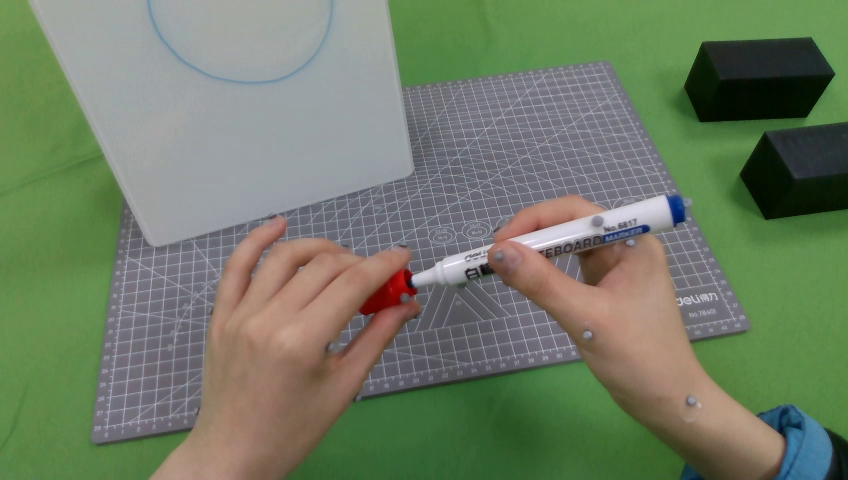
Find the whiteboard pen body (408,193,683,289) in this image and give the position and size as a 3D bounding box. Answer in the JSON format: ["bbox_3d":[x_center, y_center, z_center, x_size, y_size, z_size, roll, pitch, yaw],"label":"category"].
[{"bbox_3d":[0.052,0.004,0.292,0.140,0.017,0.016,-17,53,18],"label":"whiteboard pen body"}]

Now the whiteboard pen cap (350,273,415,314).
[{"bbox_3d":[-0.021,0.028,0.318,0.032,0.017,0.017,-12,55,2],"label":"whiteboard pen cap"}]

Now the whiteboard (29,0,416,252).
[{"bbox_3d":[-0.147,-0.180,0.449,0.217,0.308,0.142,-17,37,-10],"label":"whiteboard"}]
